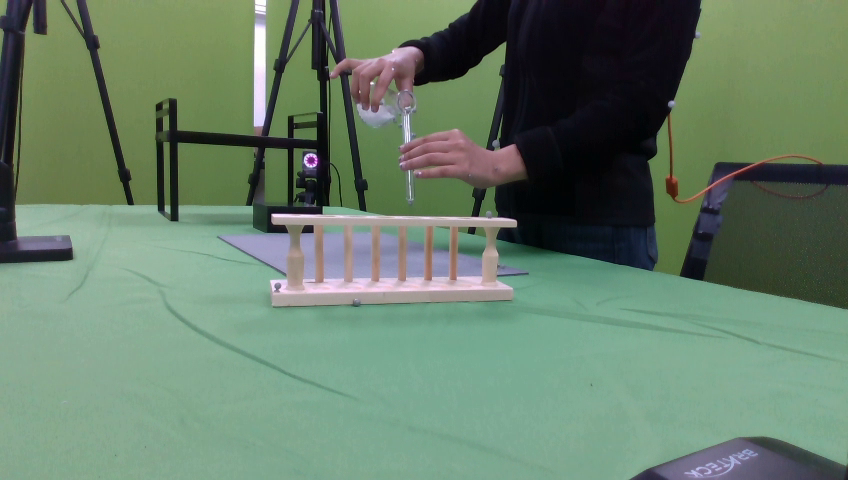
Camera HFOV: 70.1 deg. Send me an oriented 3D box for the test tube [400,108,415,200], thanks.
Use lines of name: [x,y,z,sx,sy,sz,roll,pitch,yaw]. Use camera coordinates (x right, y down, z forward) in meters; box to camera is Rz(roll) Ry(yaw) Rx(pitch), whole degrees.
test tube: [-0.025,-0.132,0.918,0.017,0.150,0.017,-3,-18,-1]

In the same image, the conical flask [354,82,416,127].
conical flask: [-0.059,-0.225,0.993,0.076,0.075,0.121,-2,9,-31]

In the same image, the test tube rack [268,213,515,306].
test tube rack: [-0.033,0.015,0.617,0.243,0.085,0.066,0,7,-17]
